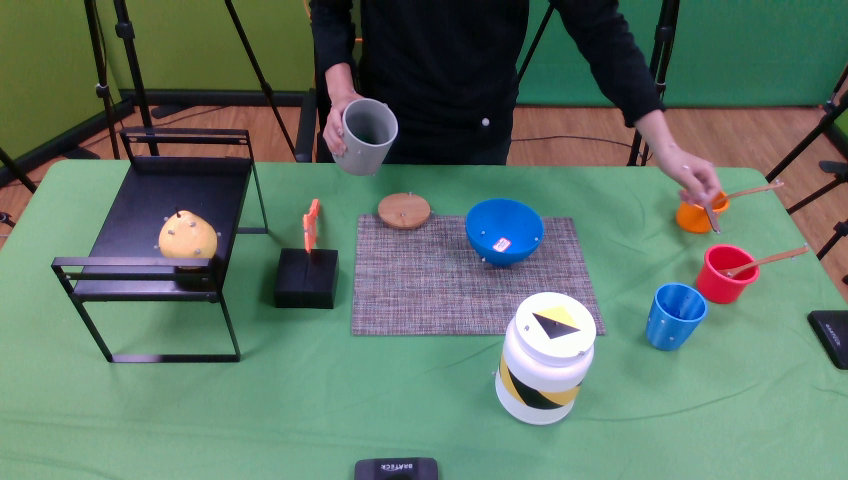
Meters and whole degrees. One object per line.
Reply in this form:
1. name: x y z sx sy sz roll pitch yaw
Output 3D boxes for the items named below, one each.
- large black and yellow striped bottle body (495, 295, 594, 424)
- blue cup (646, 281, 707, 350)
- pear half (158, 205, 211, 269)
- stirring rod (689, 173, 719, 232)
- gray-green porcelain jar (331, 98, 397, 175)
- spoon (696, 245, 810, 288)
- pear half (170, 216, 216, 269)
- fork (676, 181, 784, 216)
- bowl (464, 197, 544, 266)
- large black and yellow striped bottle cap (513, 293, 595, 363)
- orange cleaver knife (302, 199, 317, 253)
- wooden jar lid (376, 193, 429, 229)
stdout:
1. large black and yellow striped bottle body: 0.183 0.182 0.923 0.131 0.185 0.130 2 46 -2
2. blue cup: 0.425 0.136 1.042 0.092 0.101 0.092 1 44 -1
3. pear half: -0.352 -0.015 0.872 0.056 0.110 0.076 25 46 20
4. stirring rod: 0.566 -0.079 1.225 0.014 0.006 0.175 2 45 2
5. gray-green porcelain jar: -0.119 -0.192 1.160 0.106 0.127 0.105 9 63 -18
6. spoon: 0.601 0.047 1.114 0.193 0.022 0.041 -27 36 33
7. pear half: -0.323 0.007 0.866 0.031 0.088 0.070 25 46 20
8. fork: 0.618 -0.084 1.235 0.207 0.019 0.028 -23 21 38
9. bowl: 0.149 -0.004 1.167 0.151 0.077 0.150 2 46 -2
10. large black and yellow striped bottle cap: 0.186 0.123 0.863 0.115 0.019 0.114 3 45 -3
11. orange cleaver knife: -0.219 -0.031 1.168 0.012 0.077 0.210 -5 17 -3
12. wooden jar lid: -0.044 -0.058 1.246 0.108 0.021 0.107 3 40 -2
